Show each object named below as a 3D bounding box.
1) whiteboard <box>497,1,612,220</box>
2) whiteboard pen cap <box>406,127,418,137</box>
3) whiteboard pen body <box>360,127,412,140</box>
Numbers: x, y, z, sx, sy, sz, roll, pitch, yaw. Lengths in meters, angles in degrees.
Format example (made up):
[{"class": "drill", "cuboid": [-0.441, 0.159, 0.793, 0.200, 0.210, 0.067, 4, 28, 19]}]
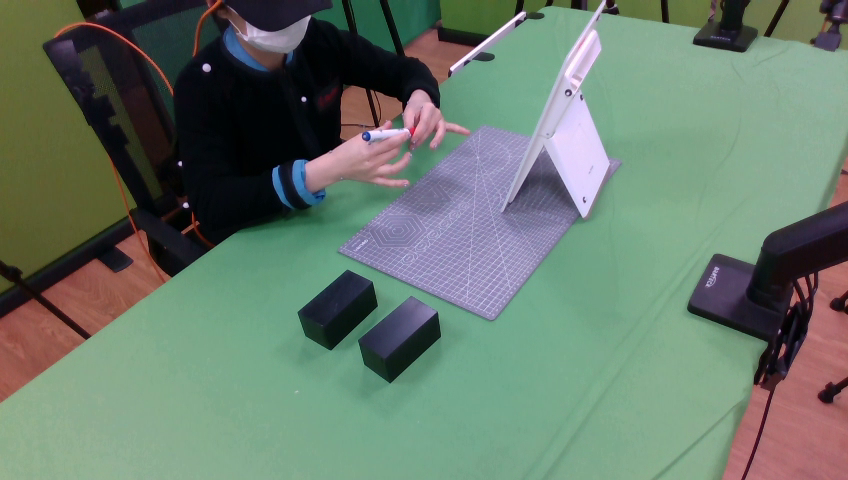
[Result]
[{"class": "whiteboard", "cuboid": [0.260, -0.178, 0.963, 0.143, 0.306, 0.217, 28, 49, 9]}, {"class": "whiteboard pen cap", "cuboid": [-0.022, -0.185, 1.031, 0.017, 0.017, 0.032, 8, 15, 17]}, {"class": "whiteboard pen body", "cuboid": [-0.055, -0.175, 0.983, 0.016, 0.017, 0.141, 20, 22, 28]}]
